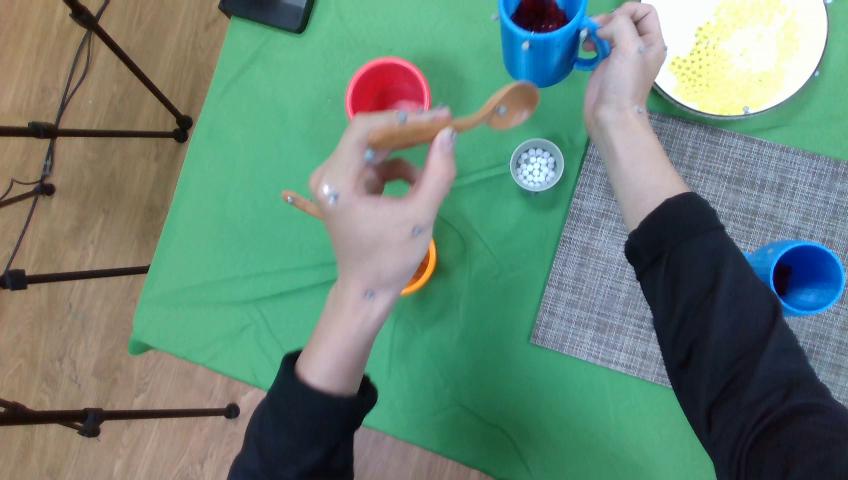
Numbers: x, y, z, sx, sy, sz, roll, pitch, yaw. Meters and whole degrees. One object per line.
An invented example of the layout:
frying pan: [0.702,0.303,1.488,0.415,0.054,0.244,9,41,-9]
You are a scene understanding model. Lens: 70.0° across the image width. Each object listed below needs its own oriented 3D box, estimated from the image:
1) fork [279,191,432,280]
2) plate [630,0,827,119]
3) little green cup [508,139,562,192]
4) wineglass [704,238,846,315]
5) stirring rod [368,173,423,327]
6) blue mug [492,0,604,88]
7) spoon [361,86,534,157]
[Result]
fork: [-0.071,-0.004,0.676,0.209,0.018,0.028,29,98,-35]
plate: [0.340,-0.238,0.692,0.209,0.038,0.209,0,88,7]
little green cup: [0.130,-0.085,0.710,0.061,0.039,0.061,0,87,8]
wineglass: [0.341,0.037,0.606,0.073,0.172,0.073,0,86,8]
stirring rod: [-0.031,0.011,0.668,0.014,0.006,0.176,16,89,9]
blue mug: [0.129,-0.207,0.617,0.116,0.106,0.082,28,87,13]
spoon: [0.025,-0.077,0.402,0.021,0.194,0.042,42,125,14]
